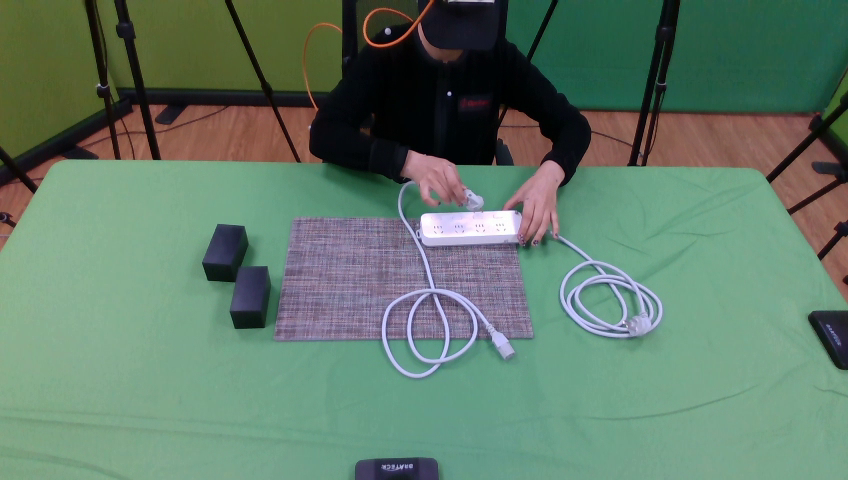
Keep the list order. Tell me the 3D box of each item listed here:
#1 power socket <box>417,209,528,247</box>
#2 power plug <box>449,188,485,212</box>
[{"bbox_3d":[0.099,-0.024,1.214,0.227,0.033,0.071,-3,47,-7],"label":"power socket"},{"bbox_3d":[0.090,-0.081,1.187,0.035,0.053,0.072,-40,39,-12],"label":"power plug"}]
